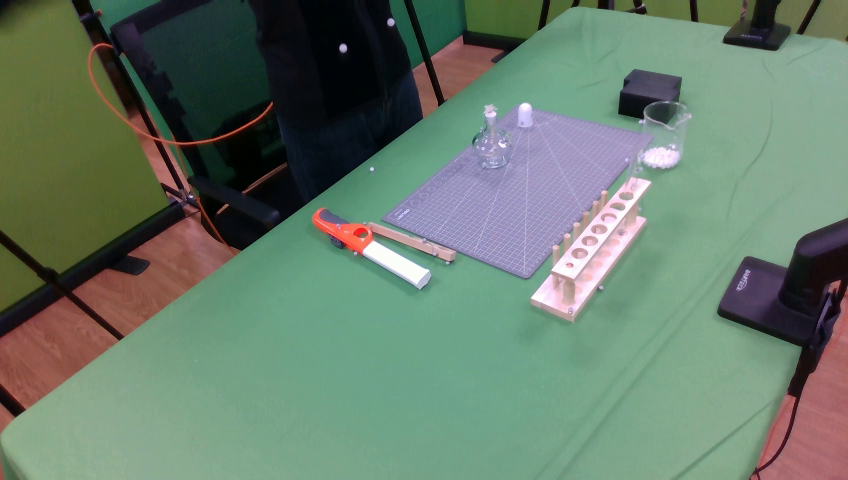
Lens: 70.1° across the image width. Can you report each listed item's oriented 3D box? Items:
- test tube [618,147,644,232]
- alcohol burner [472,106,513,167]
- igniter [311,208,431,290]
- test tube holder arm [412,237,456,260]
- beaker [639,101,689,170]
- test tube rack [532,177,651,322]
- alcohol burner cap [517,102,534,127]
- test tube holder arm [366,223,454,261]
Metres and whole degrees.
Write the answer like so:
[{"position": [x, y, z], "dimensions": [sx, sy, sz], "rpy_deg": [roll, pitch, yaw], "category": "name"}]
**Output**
[{"position": [0.301, -0.070, 0.881], "dimensions": [0.017, 0.151, 0.017], "rpy_deg": [-3, 43, 3], "category": "test tube"}, {"position": [0.125, -0.195, 1.111], "dimensions": [0.078, 0.119, 0.077], "rpy_deg": [-5, 42, 5], "category": "alcohol burner"}, {"position": [-0.096, 0.008, 0.985], "dimensions": [0.274, 0.025, 0.057], "rpy_deg": [28, 63, 36], "category": "igniter"}, {"position": [0.013, 0.013, 0.968], "dimensions": [0.087, 0.015, 0.010], "rpy_deg": [19, 14, 30], "category": "test tube holder arm"}, {"position": [0.416, -0.178, 1.053], "dimensions": [0.074, 0.101, 0.083], "rpy_deg": [-4, 41, 7], "category": "beaker"}, {"position": [0.247, 0.002, 0.883], "dimensions": [0.066, 0.085, 0.243], "rpy_deg": [22, 49, 32], "category": "test tube rack"}, {"position": [0.205, -0.255, 1.223], "dimensions": [0.034, 0.048, 0.033], "rpy_deg": [-6, 41, 6], "category": "alcohol burner cap"}, {"position": [-0.027, 0.001, 0.986], "dimensions": [0.177, 0.015, 0.013], "rpy_deg": [19, 14, 30], "category": "test tube holder arm"}]
